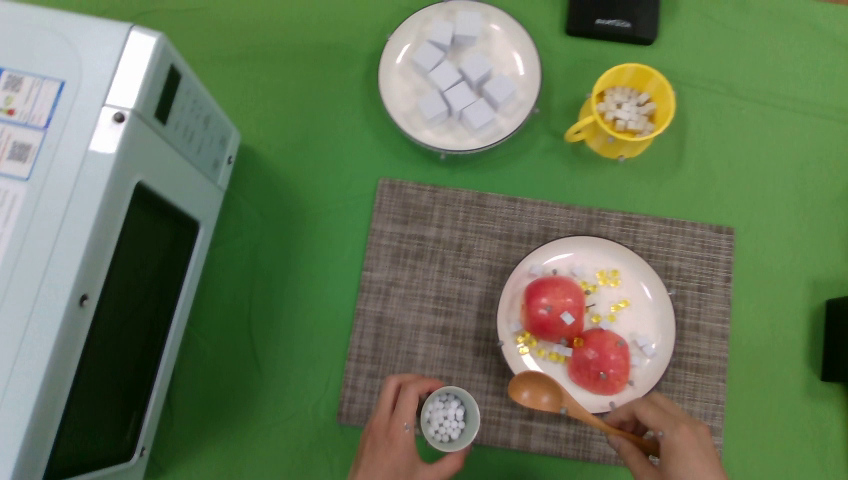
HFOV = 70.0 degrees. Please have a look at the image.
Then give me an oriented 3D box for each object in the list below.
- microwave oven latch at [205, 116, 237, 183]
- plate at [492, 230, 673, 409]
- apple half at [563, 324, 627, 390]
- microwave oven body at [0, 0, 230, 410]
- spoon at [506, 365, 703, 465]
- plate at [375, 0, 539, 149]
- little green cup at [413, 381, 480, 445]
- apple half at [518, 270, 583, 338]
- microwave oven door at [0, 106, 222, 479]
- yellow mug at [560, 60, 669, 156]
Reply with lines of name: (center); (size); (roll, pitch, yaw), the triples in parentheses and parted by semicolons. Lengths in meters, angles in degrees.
microwave oven latch: (-0.253, -0.112, 0.741); (0.030, 0.029, 0.079); (13, 80, 2)
plate: (0.183, 0.092, 0.715); (0.209, 0.038, 0.208); (0, 80, 0)
apple half: (0.200, 0.134, 0.700); (0.081, 0.033, 0.081); (0, 76, 1)
microwave oven body: (-0.436, 0.008, 0.620); (0.326, 0.261, 0.440); (12, 80, 2)
spoon: (0.169, 0.169, 0.574); (0.193, 0.021, 0.042); (25, 113, 11)
plate: (0.042, -0.212, 0.779); (0.208, 0.039, 0.206); (0, 79, 0)
little green cup: (0.020, 0.172, 0.605); (0.062, 0.038, 0.061); (7, 74, -26)
apple half: (0.148, 0.072, 0.703); (0.074, 0.053, 0.080); (6, 80, 4)
microwave oven door: (-0.302, 0.077, 0.601); (0.039, 0.245, 0.354); (11, 79, 3)
yellow mug: (0.230, -0.157, 0.753); (0.131, 0.064, 0.099); (-23, 79, -4)
